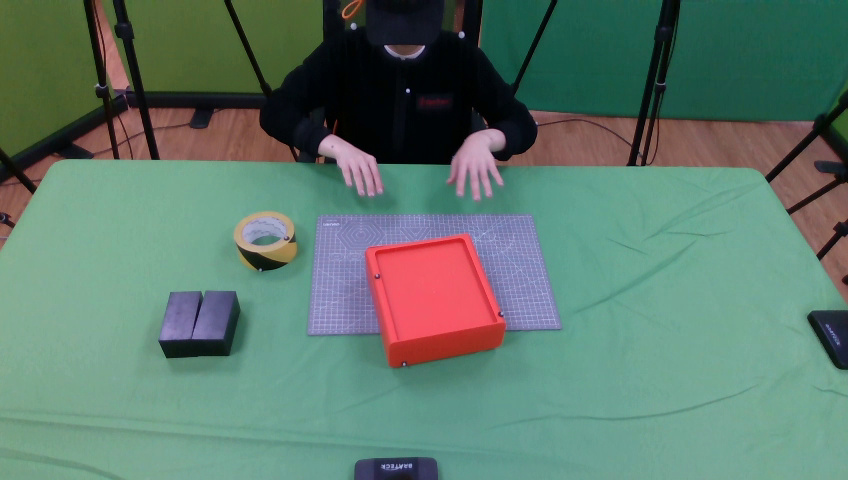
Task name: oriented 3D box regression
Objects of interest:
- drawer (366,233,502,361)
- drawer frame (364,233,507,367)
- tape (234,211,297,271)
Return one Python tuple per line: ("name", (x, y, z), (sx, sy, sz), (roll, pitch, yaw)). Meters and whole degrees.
("drawer", (0.012, 0.095, 1.063), (0.195, 0.073, 0.210), (-7, 48, -12))
("drawer frame", (0.013, 0.098, 1.058), (0.202, 0.083, 0.212), (-9, 48, -12))
("tape", (-0.301, 0.002, 1.154), (0.117, 0.053, 0.116), (2, 46, -1))
